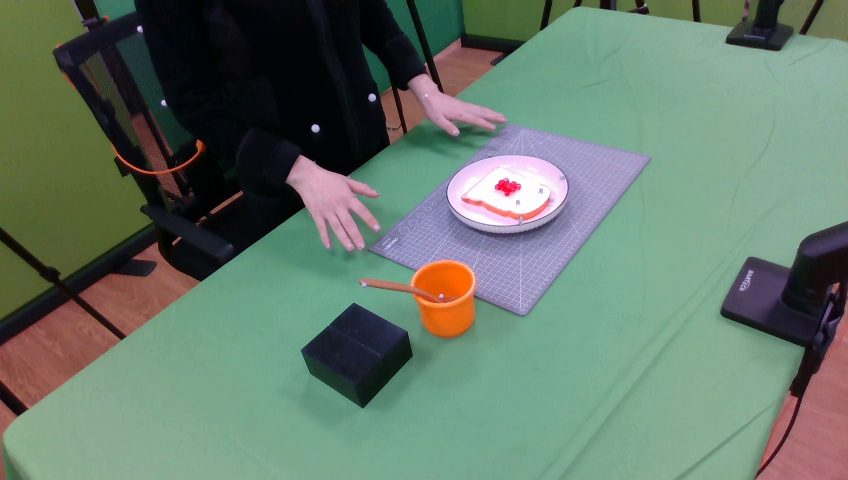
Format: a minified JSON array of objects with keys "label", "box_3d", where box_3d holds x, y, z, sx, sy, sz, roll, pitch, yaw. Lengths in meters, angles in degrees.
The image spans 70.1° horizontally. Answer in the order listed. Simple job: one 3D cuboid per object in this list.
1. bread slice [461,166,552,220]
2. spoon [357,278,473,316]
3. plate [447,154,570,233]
[{"label":"bread slice","box_3d":[0.149,-0.079,1.036,0.133,0.018,0.107,22,50,31]},{"label":"spoon","box_3d":[-0.008,0.072,0.804,0.021,0.195,0.041,-54,41,17]},{"label":"plate","box_3d":[0.143,-0.076,1.032,0.209,0.038,0.208,-5,40,5]}]
